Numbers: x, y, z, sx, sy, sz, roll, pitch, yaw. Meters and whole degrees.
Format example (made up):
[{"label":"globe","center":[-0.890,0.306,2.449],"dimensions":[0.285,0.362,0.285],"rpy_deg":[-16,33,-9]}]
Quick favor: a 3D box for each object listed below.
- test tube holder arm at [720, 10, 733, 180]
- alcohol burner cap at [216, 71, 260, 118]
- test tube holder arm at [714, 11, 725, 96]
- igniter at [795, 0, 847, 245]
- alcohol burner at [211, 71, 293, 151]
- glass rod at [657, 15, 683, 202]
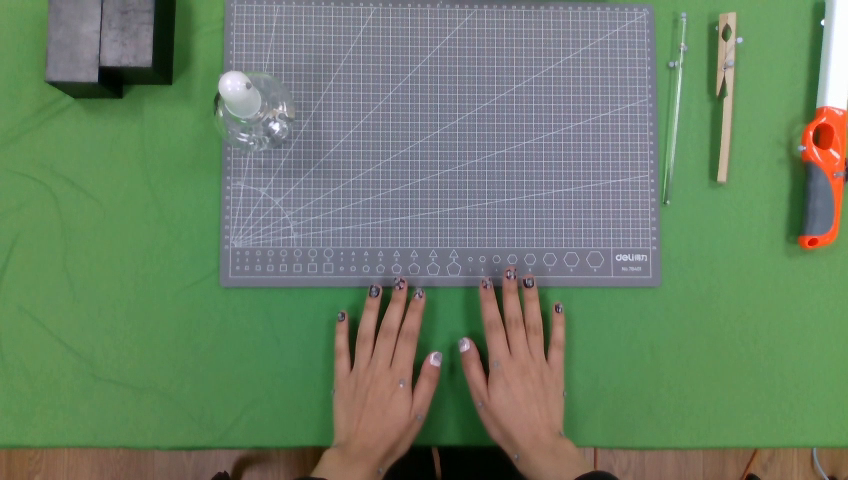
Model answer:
[{"label":"test tube holder arm","center":[0.317,-0.152,0.635],"dimensions":[0.013,0.015,0.178],"rpy_deg":[-1,86,34]},{"label":"alcohol burner cap","center":[-0.165,-0.130,0.531],"dimensions":[0.034,0.048,0.034],"rpy_deg":[1,82,-6]},{"label":"test tube holder arm","center":[0.314,-0.197,0.640],"dimensions":[0.010,0.015,0.087],"rpy_deg":[0,86,35]},{"label":"igniter","center":[0.422,-0.130,0.634],"dimensions":[0.057,0.025,0.276],"rpy_deg":[9,86,-11]},{"label":"alcohol burner","center":[-0.166,-0.126,0.567],"dimensions":[0.078,0.119,0.077],"rpy_deg":[0,85,0]},{"label":"glass rod","center":[0.260,-0.139,0.638],"dimensions":[0.008,0.008,0.199],"rpy_deg":[7,89,-2]}]
